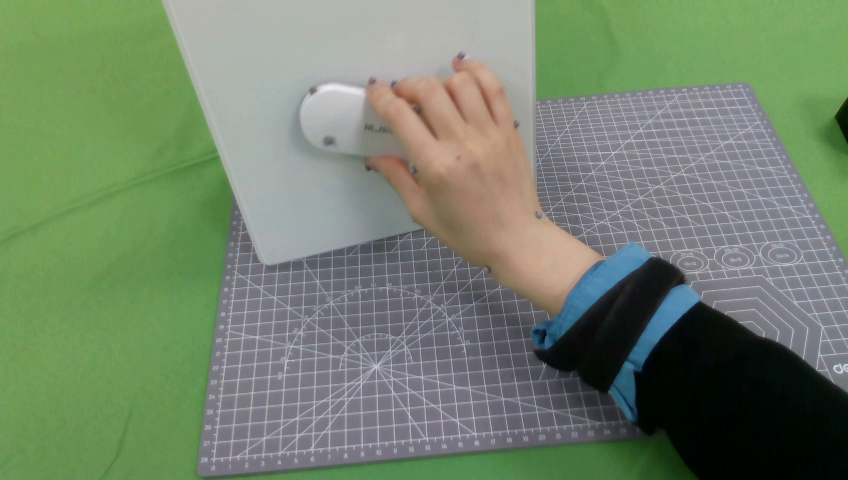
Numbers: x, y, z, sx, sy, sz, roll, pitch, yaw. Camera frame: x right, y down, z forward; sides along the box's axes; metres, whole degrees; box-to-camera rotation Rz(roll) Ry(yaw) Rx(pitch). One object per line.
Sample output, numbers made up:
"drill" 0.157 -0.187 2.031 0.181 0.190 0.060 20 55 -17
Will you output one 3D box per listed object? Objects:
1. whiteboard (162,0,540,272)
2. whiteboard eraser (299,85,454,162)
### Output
"whiteboard" -0.048 -0.162 0.420 0.217 0.308 0.142 -13 37 -6
"whiteboard eraser" -0.029 -0.075 0.393 0.102 0.041 0.018 5 34 -18
